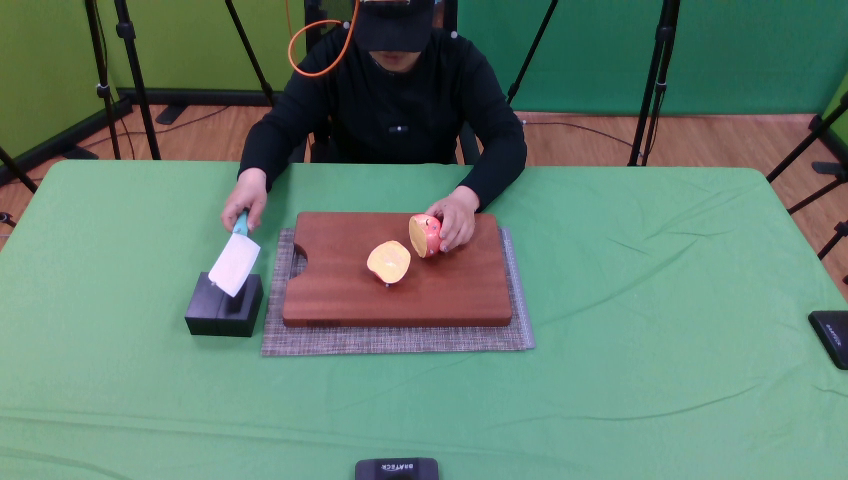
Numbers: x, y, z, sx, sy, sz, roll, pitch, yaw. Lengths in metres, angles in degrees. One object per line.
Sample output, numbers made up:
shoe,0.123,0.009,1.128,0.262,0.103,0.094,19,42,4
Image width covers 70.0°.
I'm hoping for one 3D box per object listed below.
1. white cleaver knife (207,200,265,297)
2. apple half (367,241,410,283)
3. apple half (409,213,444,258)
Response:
white cleaver knife,-0.331,0.009,1.108,0.066,0.021,0.285,42,25,-22
apple half,-0.059,0.043,1.100,0.081,0.033,0.081,-3,67,8
apple half,0.010,-0.010,1.134,0.053,0.075,0.080,-14,45,-23
